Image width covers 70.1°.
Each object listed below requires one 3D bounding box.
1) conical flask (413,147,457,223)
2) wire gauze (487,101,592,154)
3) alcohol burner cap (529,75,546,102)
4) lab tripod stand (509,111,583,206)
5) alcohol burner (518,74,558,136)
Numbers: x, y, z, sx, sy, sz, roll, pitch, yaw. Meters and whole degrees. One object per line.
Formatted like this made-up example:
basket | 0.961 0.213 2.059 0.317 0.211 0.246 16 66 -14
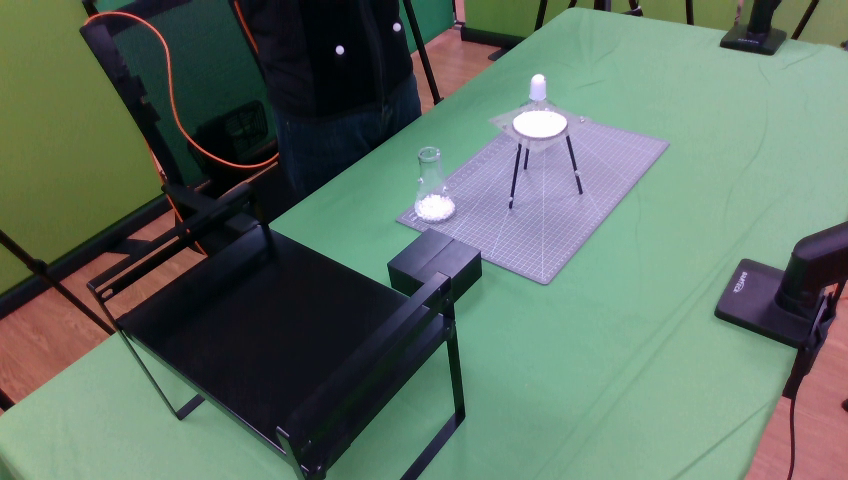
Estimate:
conical flask | 0.013 -0.094 1.002 0.075 0.122 0.075 -5 41 4
wire gauze | 0.185 -0.187 0.973 0.122 0.011 0.124 -27 44 -23
alcohol burner cap | 0.218 -0.292 1.156 0.034 0.048 0.033 -4 46 4
lab tripod stand | 0.197 -0.139 1.019 0.148 0.132 0.147 -3 39 3
alcohol burner | 0.222 -0.265 1.179 0.078 0.119 0.077 -5 39 5
